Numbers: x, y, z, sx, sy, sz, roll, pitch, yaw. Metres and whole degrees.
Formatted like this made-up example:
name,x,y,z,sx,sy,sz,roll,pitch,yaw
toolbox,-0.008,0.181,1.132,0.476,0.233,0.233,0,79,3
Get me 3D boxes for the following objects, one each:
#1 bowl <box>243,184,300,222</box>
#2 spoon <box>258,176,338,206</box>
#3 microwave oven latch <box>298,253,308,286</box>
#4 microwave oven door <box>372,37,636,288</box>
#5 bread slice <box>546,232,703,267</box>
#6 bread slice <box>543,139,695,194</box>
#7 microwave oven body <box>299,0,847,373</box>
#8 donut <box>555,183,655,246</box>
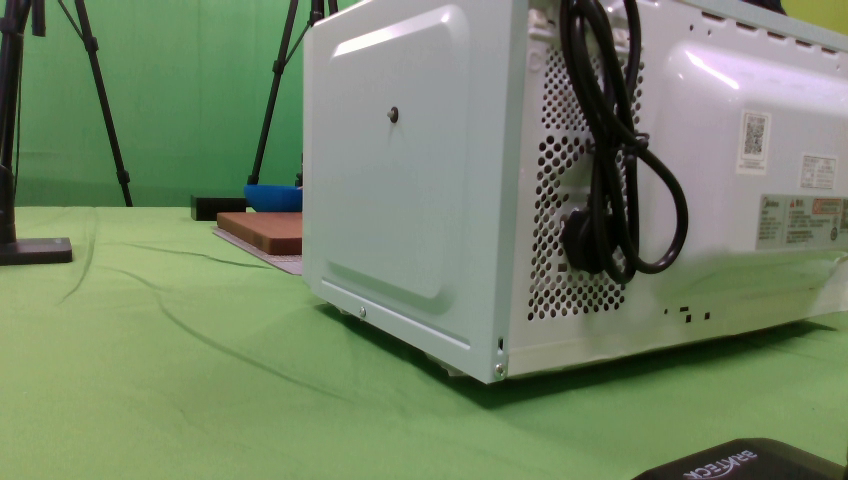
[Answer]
name,x,y,z,sx,sy,sz,roll,pitch,yaw
bowl,-0.321,-0.081,1.334,0.151,0.077,0.151,3,7,0
spoon,-0.279,-0.112,1.356,0.194,0.021,0.041,-27,19,-27
microwave oven latch,-0.081,0.027,0.582,0.079,0.029,0.030,-1,7,-32
microwave oven door,0.110,-0.080,0.686,0.358,0.243,0.039,-2,9,-33
bread slice,0.201,0.010,0.589,0.105,0.019,0.131,9,-9,-26
bread slice,0.201,-0.074,0.610,0.133,0.018,0.107,25,17,37
microwave oven body,0.152,-0.055,0.542,0.444,0.260,0.324,-2,7,-33
donut,0.182,-0.027,0.612,0.099,0.048,0.099,13,-12,3
